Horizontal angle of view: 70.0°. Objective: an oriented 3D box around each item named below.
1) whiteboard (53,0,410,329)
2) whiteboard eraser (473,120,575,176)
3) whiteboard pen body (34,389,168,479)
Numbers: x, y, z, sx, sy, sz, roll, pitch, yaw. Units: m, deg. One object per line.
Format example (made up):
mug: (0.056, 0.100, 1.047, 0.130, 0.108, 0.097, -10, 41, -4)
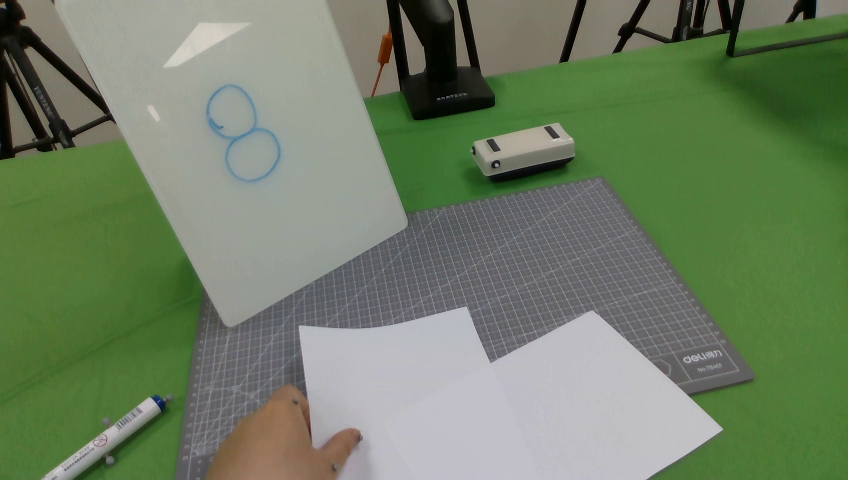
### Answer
whiteboard: (-0.182, -0.110, 0.607, 0.217, 0.308, 0.142, -31, 25, -25)
whiteboard eraser: (0.118, -0.108, 0.719, 0.113, 0.042, 0.055, -13, 42, -8)
whiteboard pen body: (-0.260, 0.164, 0.462, 0.017, 0.017, 0.140, 24, 48, 32)
